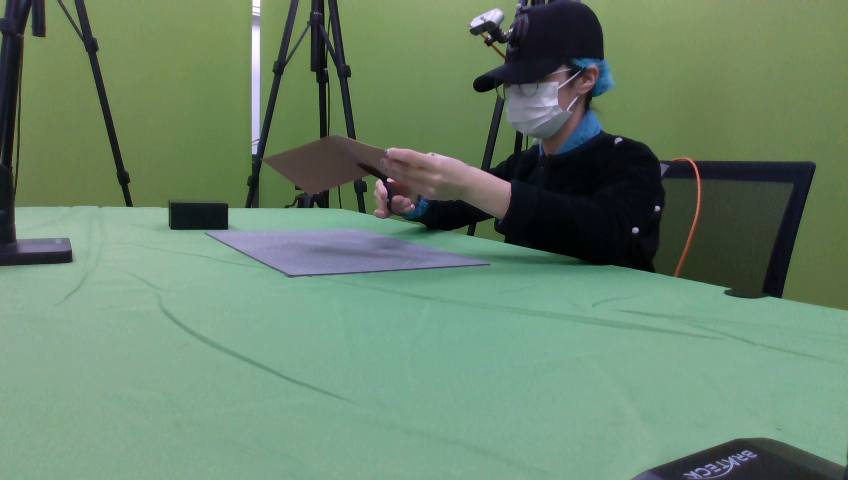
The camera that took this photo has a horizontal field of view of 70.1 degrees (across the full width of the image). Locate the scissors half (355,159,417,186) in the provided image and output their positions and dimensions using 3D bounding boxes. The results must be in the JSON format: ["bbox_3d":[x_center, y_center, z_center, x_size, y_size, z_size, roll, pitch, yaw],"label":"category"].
[{"bbox_3d":[-0.063,-0.121,1.034,0.013,0.040,0.176,10,4,32],"label":"scissors half"}]

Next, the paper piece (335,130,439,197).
[{"bbox_3d":[-0.053,-0.115,0.917,0.137,0.008,0.136,29,-1,31],"label":"paper piece"}]

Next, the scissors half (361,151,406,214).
[{"bbox_3d":[-0.071,-0.099,1.030,0.012,0.040,0.176,16,-27,33],"label":"scissors half"}]

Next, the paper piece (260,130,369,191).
[{"bbox_3d":[-0.167,-0.124,0.973,0.135,0.004,0.136,-17,-25,19],"label":"paper piece"}]
